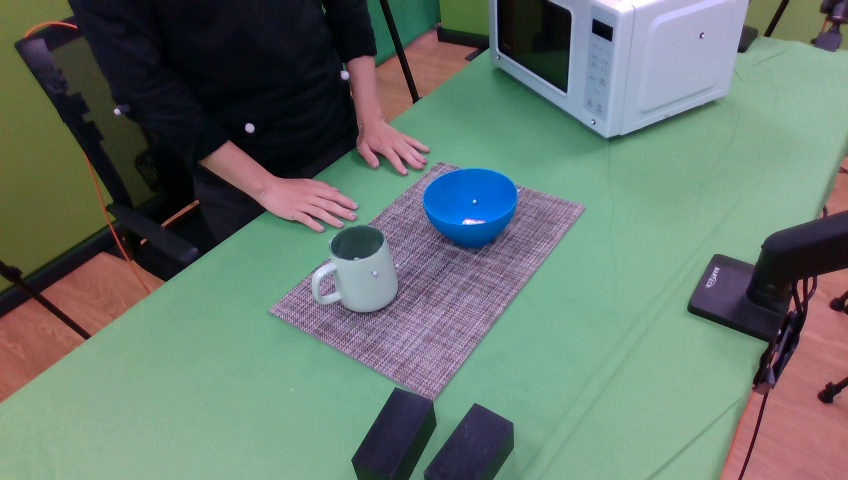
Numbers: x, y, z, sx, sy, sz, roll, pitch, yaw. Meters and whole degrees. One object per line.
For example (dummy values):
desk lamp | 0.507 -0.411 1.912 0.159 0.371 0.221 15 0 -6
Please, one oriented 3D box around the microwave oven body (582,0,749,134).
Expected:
microwave oven body | 0.382 -0.444 1.246 0.327 0.261 0.437 -22 42 -16

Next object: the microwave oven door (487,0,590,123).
microwave oven door | 0.232 -0.420 1.231 0.039 0.245 0.352 -22 43 -16

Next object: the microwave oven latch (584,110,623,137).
microwave oven latch | 0.337 -0.222 1.142 0.030 0.029 0.078 -21 42 -14

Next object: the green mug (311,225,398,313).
green mug | -0.101 0.050 0.857 0.126 0.105 0.091 -28 45 -23

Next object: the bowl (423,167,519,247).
bowl | 0.075 -0.041 0.958 0.151 0.077 0.150 -4 40 4
